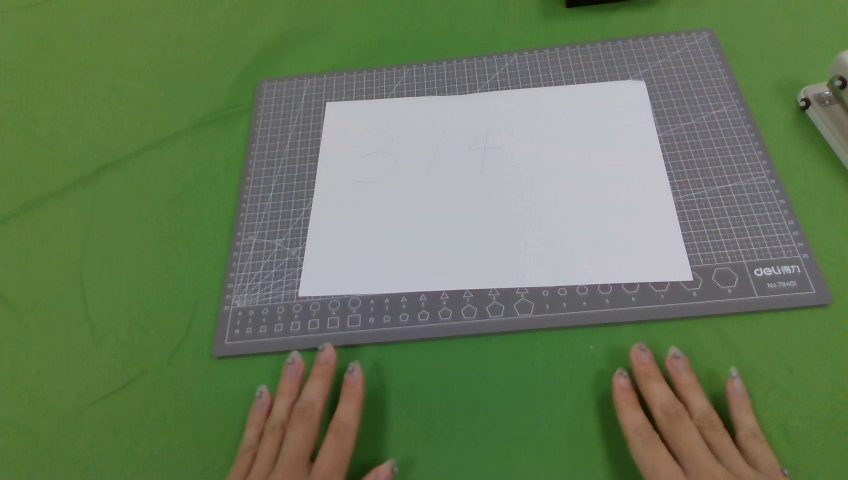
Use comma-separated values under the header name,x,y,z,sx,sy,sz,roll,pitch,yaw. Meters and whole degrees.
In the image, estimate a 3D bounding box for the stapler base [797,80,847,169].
name,x,y,z,sx,sy,sz,roll,pitch,yaw
stapler base,0.352,-0.087,0.488,0.041,0.024,0.129,-14,59,3

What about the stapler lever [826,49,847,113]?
name,x,y,z,sx,sy,sz,roll,pitch,yaw
stapler lever,0.350,-0.099,0.466,0.027,0.040,0.117,-14,59,3
